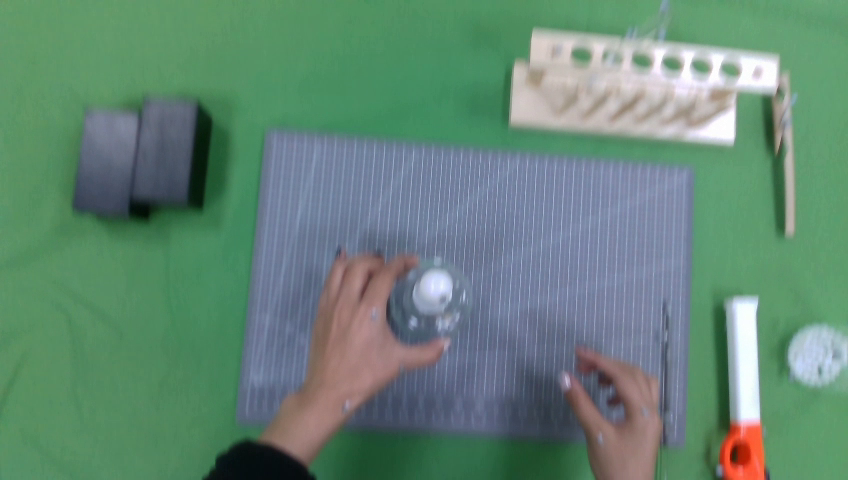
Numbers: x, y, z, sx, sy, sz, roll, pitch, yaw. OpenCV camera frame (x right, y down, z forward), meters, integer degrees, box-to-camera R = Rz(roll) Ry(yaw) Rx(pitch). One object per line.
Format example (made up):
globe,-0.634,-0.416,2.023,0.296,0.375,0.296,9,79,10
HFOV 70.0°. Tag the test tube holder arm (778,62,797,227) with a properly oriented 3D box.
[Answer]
test tube holder arm,0.390,-0.102,0.651,0.013,0.015,0.178,-6,85,30

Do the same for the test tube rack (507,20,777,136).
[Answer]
test tube rack,0.212,-0.158,0.608,0.243,0.085,0.066,4,85,-5

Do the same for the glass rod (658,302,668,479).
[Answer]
glass rod,0.245,0.163,0.621,0.008,0.008,0.199,4,85,-5

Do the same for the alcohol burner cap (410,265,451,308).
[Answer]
alcohol burner cap,0.008,0.037,0.509,0.034,0.048,0.033,3,73,-9

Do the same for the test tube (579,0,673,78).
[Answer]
test tube,0.180,-0.183,0.557,0.017,0.150,0.017,1,82,-11

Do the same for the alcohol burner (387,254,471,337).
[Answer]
alcohol burner,0.005,0.046,0.543,0.078,0.119,0.077,0,75,-1

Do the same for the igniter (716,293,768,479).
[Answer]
igniter,0.324,0.193,0.620,0.057,0.025,0.276,1,86,-15

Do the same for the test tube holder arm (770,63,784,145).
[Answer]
test tube holder arm,0.383,-0.147,0.657,0.010,0.015,0.087,-5,86,30

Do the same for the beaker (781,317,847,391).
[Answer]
beaker,0.416,0.110,0.599,0.074,0.100,0.084,18,83,-3
